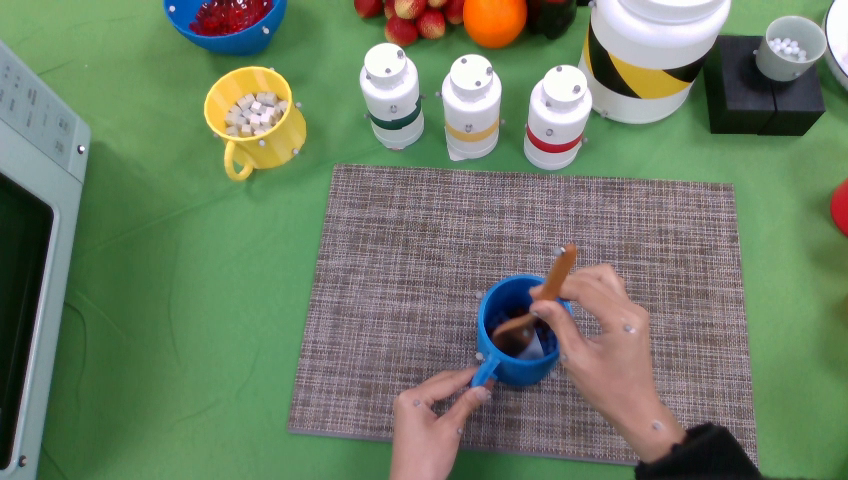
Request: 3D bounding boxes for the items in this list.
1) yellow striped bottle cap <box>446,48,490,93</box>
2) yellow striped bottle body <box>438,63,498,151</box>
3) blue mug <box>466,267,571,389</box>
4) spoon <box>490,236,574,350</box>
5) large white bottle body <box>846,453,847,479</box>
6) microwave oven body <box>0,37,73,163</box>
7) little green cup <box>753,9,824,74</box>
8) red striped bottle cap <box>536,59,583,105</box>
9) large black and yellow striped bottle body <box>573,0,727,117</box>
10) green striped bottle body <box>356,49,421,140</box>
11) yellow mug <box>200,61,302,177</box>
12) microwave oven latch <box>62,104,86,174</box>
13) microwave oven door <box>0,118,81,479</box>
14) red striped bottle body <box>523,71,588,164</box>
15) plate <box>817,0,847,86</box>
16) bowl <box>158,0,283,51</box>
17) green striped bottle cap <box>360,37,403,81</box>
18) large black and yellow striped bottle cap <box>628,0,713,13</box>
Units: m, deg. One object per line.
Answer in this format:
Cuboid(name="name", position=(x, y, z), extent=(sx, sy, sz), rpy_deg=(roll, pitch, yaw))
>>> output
Cuboid(name="yellow striped bottle cap", position=(0.045, -0.172, 0.612), extent=(0.044, 0.019, 0.044), rpy_deg=(-1, 70, 4))
Cuboid(name="yellow striped bottle body", position=(0.048, -0.153, 0.660), extent=(0.063, 0.121, 0.062), rpy_deg=(-2, 68, 5))
Cuboid(name="blue mug", position=(0.079, 0.093, 0.566), extent=(0.082, 0.106, 0.116), rpy_deg=(38, 76, 17))
Cuboid(name="spoon", position=(0.086, 0.049, 0.476), extent=(0.042, 0.195, 0.021), rpy_deg=(-3, 63, -8))
Cuboid(name="large white bottle body", position=(0.440, 0.187, 0.464), extent=(0.130, 0.186, 0.129), rpy_deg=(-1, 68, 4))
Cuboid(name="microwave oven body", position=(-0.558, 0.025, 0.555), extent=(0.326, 0.262, 0.438), rpy_deg=(-5, 69, 2))
Cuboid(name="little green cup", position=(0.386, -0.210, 0.648), extent=(0.061, 0.039, 0.061), rpy_deg=(0, 66, 1))
Cuboid(name="red striped bottle cap", position=(0.134, -0.157, 0.599), extent=(0.044, 0.018, 0.044), rpy_deg=(0, 67, 0))
Cuboid(name="large black and yellow striped bottle body", position=(0.237, -0.233, 0.644), extent=(0.131, 0.185, 0.130), rpy_deg=(-1, 68, 4))
Cuboid(name="green striped bottle body", position=(-0.039, -0.167, 0.672), extent=(0.063, 0.120, 0.062), rpy_deg=(-1, 68, 4))
Cuboid(name="yellow mug", position=(-0.203, -0.134, 0.700), extent=(0.100, 0.064, 0.130), rpy_deg=(13, 71, 8))
Cuboid(name="microwave oven latch", position=(-0.416, -0.117, 0.704), extent=(0.030, 0.030, 0.078), rpy_deg=(-4, 69, 2))
Cuboid(name="microwave oven door", position=(-0.410, 0.049, 0.530), extent=(0.039, 0.245, 0.353), rpy_deg=(-5, 68, 3))
Cuboid(name="red striped bottle body", position=(0.140, -0.137, 0.648), extent=(0.063, 0.120, 0.062), rpy_deg=(-2, 67, 6))
Cuboid(name="plate", position=(0.558, -0.230, 0.698), extent=(0.209, 0.038, 0.207), rpy_deg=(-1, 69, 4))
Cuboid(name="bowl", position=(-0.241, -0.293, 0.758), extent=(0.151, 0.077, 0.150), rpy_deg=(-1, 69, 3))
Cuboid(name="green striped bottle cap", position=(-0.044, -0.187, 0.624), extent=(0.044, 0.020, 0.044), rpy_deg=(-1, 68, 2))
Cuboid(name="large black and yellow striped bottle cap", position=(0.229, -0.263, 0.565), extent=(0.115, 0.019, 0.114), rpy_deg=(-2, 67, 4))
